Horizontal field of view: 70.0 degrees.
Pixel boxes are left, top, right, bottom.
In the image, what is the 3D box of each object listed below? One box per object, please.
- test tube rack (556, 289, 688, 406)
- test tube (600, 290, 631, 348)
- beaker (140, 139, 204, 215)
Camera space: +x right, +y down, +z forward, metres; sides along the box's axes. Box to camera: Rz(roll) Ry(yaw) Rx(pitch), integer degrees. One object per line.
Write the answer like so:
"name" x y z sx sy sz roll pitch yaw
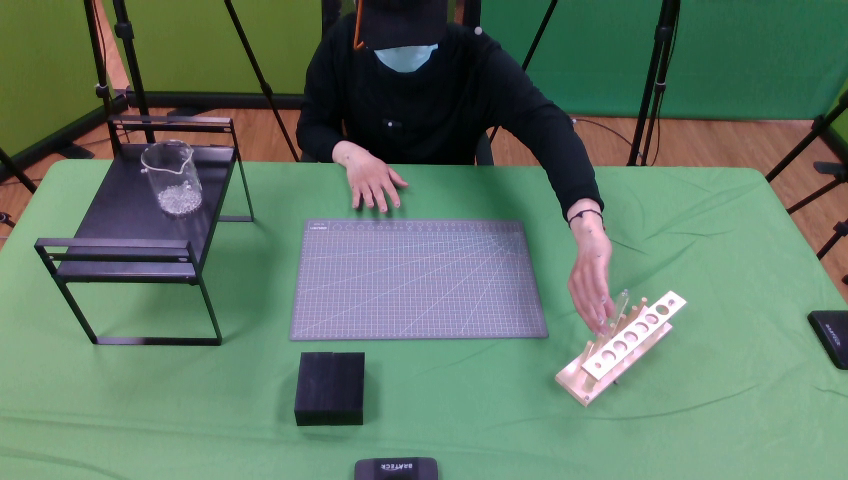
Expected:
"test tube rack" 0.333 0.166 1.014 0.242 0.085 0.066 -30 55 -28
"test tube" 0.310 0.131 0.983 0.017 0.151 0.017 1 47 -1
"beaker" -0.391 -0.095 0.954 0.074 0.101 0.083 -30 56 -27
